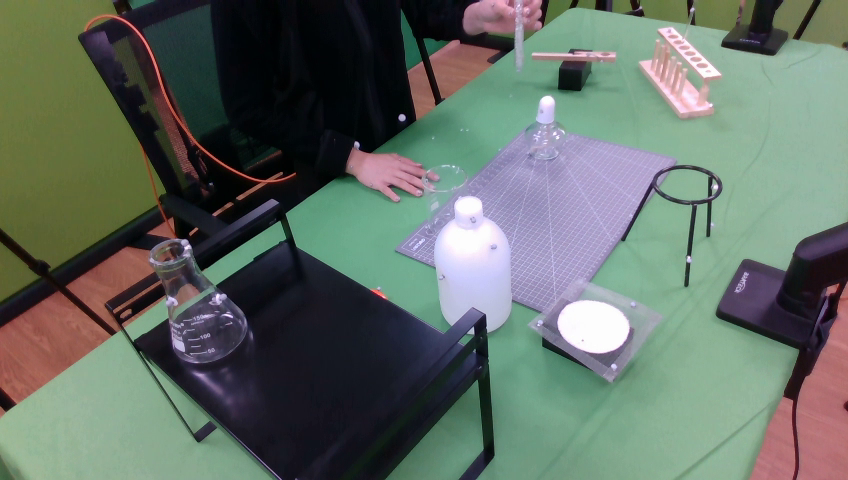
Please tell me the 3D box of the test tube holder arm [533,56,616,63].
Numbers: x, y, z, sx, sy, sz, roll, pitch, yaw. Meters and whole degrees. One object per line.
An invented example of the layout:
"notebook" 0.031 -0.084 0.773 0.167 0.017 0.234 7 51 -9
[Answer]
"test tube holder arm" 0.328 -0.396 1.326 0.178 0.015 0.013 3 47 15

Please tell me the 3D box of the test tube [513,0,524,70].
"test tube" 0.157 -0.355 1.001 0.017 0.151 0.017 -3 38 3

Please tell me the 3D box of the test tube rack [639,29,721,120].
"test tube rack" 0.527 -0.351 1.262 0.067 0.085 0.241 -8 40 1

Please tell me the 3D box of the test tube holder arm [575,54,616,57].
"test tube holder arm" 0.373 -0.397 1.318 0.087 0.015 0.010 4 48 16

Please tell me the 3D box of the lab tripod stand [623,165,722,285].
"lab tripod stand" 0.365 -0.030 0.874 0.148 0.132 0.147 -6 41 6

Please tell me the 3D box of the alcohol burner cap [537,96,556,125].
"alcohol burner cap" 0.223 -0.237 1.095 0.034 0.048 0.033 0 42 1

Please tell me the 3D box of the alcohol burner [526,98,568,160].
"alcohol burner" 0.228 -0.210 1.118 0.078 0.119 0.077 -5 43 5

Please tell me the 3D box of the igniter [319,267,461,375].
"igniter" -0.060 0.108 0.862 0.274 0.025 0.057 29 62 35

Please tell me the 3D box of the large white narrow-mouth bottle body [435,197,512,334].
"large white narrow-mouth bottle body" 0.066 0.028 0.805 0.102 0.195 0.101 -4 40 4

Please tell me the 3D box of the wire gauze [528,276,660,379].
"wire gauze" 0.214 0.103 0.763 0.124 0.011 0.122 30 52 35

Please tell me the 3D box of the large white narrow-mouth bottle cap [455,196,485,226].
"large white narrow-mouth bottle cap" 0.057 -0.037 0.749 0.038 0.024 0.037 -4 40 4

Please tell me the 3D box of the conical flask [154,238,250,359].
"conical flask" -0.225 0.055 0.597 0.075 0.122 0.075 -5 41 4

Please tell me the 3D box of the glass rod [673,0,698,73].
"glass rod" 0.537 -0.425 1.244 0.008 0.200 0.008 0 47 0

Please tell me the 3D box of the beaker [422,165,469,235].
"beaker" 0.041 -0.063 0.986 0.073 0.101 0.084 20 47 29
